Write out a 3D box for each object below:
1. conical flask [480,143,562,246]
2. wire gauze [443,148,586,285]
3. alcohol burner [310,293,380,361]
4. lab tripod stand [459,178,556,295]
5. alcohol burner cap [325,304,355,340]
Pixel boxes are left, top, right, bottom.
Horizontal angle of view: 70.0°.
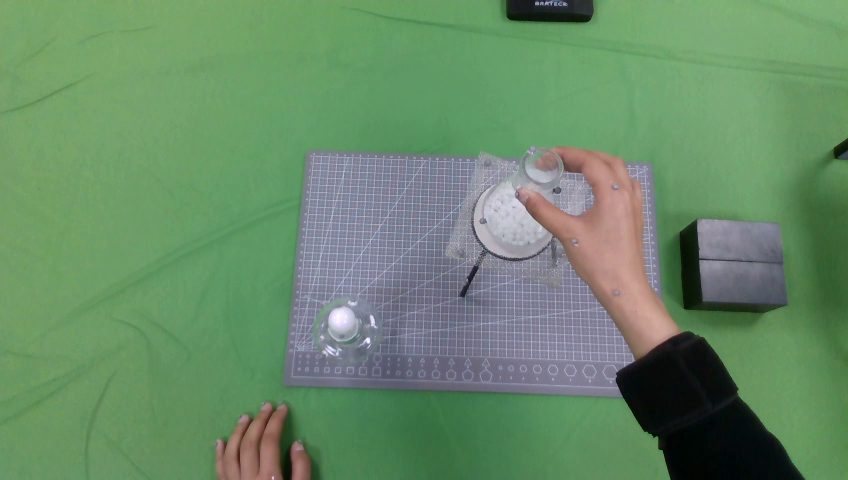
[{"bbox_3d":[0.096,-0.046,0.563,0.075,0.122,0.075,1,72,-3],"label":"conical flask"},{"bbox_3d":[0.095,-0.025,0.625,0.121,0.011,0.124,19,74,4],"label":"wire gauze"},{"bbox_3d":[-0.089,0.093,0.665,0.078,0.119,0.077,0,75,0],"label":"alcohol burner"},{"bbox_3d":[0.088,-0.008,0.689,0.148,0.132,0.147,0,73,1],"label":"lab tripod stand"},{"bbox_3d":[-0.089,0.083,0.631,0.034,0.048,0.033,2,70,-5],"label":"alcohol burner cap"}]
